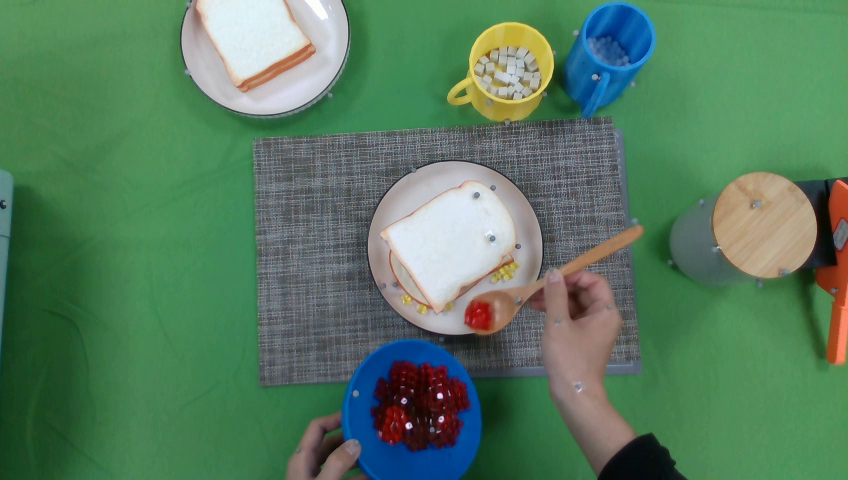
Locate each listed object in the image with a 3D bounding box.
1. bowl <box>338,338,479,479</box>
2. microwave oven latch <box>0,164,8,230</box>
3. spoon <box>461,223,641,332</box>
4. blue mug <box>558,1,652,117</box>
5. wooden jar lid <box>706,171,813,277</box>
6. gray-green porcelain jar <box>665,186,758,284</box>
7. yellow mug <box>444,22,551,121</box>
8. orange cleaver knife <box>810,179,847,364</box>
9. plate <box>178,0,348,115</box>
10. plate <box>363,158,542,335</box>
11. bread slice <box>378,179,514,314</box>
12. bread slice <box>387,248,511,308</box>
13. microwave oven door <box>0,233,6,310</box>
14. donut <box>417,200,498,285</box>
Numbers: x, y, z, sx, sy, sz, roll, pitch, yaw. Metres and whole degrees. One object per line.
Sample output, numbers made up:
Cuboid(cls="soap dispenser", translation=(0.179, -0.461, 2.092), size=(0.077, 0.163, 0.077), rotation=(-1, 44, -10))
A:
Cuboid(cls="bowl", translation=(-0.027, 0.184, 0.629), size=(0.152, 0.077, 0.150), rotation=(13, 62, -25))
Cuboid(cls="microwave oven latch", translation=(-0.508, -0.052, 0.705), size=(0.030, 0.029, 0.079), rotation=(3, 82, 0))
Cuboid(cls="spoon", translation=(0.122, 0.035, 0.588), size=(0.193, 0.022, 0.041), rotation=(-30, 77, 15))
Cuboid(cls="blue mug", translation=(0.206, -0.202, 0.716), size=(0.082, 0.106, 0.116), rotation=(18, 82, 3))
Cuboid(cls="wooden jar lid", translation=(0.338, -0.016, 0.616), size=(0.108, 0.021, 0.108), rotation=(0, 84, -2))
Cuboid(cls="gray-green porcelain jar", translation=(0.339, -0.005, 0.678), size=(0.106, 0.127, 0.105), rotation=(0, 82, 0))
Cuboid(cls="yellow mug", translation=(0.084, -0.196, 0.734), size=(0.131, 0.064, 0.099), rotation=(-24, 82, -2))
Cuboid(cls="orange cleaver knife", translation=(0.469, 0.037, 0.695), size=(0.012, 0.076, 0.212), rotation=(-4, 108, 0))
Cuboid(cls="plate", translation=(-0.196, -0.252, 0.754), size=(0.208, 0.039, 0.207), rotation=(0, 82, 0))
Cuboid(cls="plate", translation=(0.033, 0.007, 0.715), size=(0.209, 0.038, 0.208), rotation=(0, 82, 0))
Cuboid(cls="bread slice", translation=(0.030, -0.003, 0.658), size=(0.134, 0.018, 0.107), rotation=(-38, 90, -12))
Cuboid(cls="bread slice", translation=(0.024, 0.018, 0.717), size=(0.131, 0.019, 0.104), rotation=(-35, 82, -7))
Cuboid(cls="microwave oven door", translation=(-0.506, 0.150, 0.575), size=(0.039, 0.244, 0.354), rotation=(-1, 82, 0))
Cuboid(cls="donut", translation=(0.040, 0.003, 0.689), size=(0.099, 0.048, 0.098), rotation=(5, 78, -23))
